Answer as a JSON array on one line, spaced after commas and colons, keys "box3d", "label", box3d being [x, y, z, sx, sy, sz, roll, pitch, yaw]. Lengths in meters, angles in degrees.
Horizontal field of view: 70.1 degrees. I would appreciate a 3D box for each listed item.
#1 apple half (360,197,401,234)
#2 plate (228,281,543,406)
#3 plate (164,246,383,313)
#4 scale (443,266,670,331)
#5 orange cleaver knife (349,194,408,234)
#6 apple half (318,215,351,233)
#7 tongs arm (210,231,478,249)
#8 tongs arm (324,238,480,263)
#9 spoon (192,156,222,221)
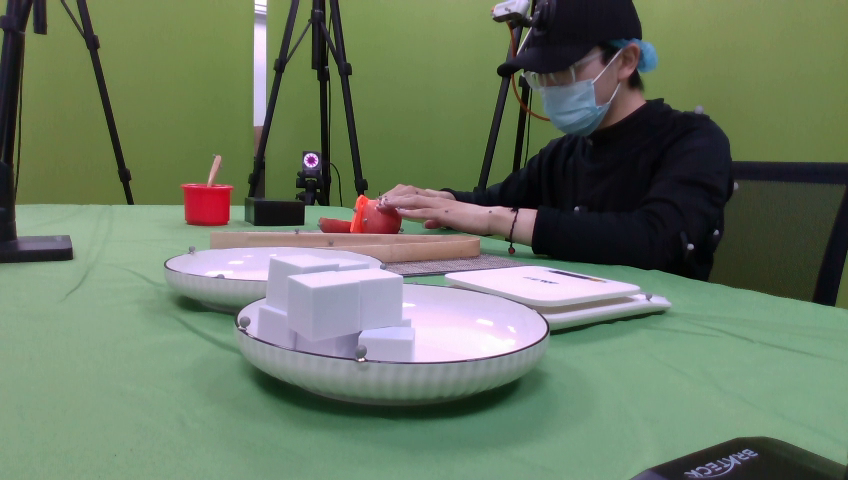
[{"box3d": [-0.066, -0.033, 1.014, 0.053, 0.074, 0.081, 9, 6, 20], "label": "apple half"}, {"box3d": [-0.025, 0.067, 0.413, 0.208, 0.039, 0.207, 3, 7, 0], "label": "plate"}, {"box3d": [-0.145, 0.038, 0.600, 0.209, 0.038, 0.209, 2, 7, 0], "label": "plate"}, {"box3d": [0.131, 0.052, 0.603, 0.202, 0.031, 0.148, -2, 9, -37], "label": "scale"}, {"box3d": [-0.076, -0.041, 1.062, 0.012, 0.077, 0.212, 8, 7, 21], "label": "orange cleaver knife"}, {"box3d": [-0.147, -0.019, 1.035, 0.081, 0.033, 0.081, 10, -5, 1], "label": "apple half"}, {"box3d": [-0.106, 0.005, 0.876, 0.386, 0.026, 0.050, 0, 7, -20], "label": "tongs arm"}, {"box3d": [-0.070, 0.017, 0.801, 0.390, 0.028, 0.028, -2, 5, -34], "label": "tongs arm"}, {"box3d": [-0.430, -0.108, 1.222, 0.041, 0.021, 0.193, -1, 52, 0], "label": "spoon"}]
